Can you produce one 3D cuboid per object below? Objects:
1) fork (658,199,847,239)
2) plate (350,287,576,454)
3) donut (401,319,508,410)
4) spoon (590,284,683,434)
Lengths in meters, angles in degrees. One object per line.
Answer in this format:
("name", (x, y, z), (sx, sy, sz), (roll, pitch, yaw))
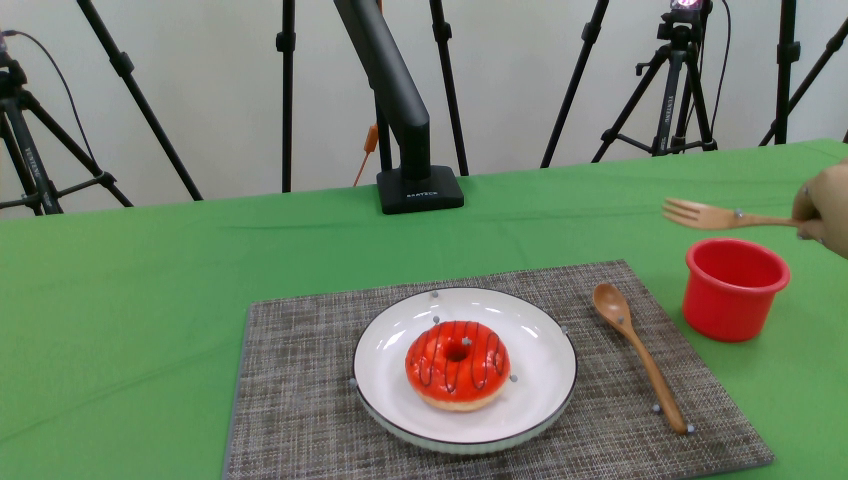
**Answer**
("fork", (0.307, -0.011, 0.512), (0.206, 0.019, 0.028), (9, 56, 27))
("plate", (0.037, 0.120, 0.572), (0.209, 0.038, 0.207), (-1, 32, 1))
("donut", (0.028, 0.115, 0.561), (0.099, 0.048, 0.098), (-2, 36, 2))
("spoon", (0.208, 0.109, 0.597), (0.042, 0.022, 0.192), (11, 30, -14))
